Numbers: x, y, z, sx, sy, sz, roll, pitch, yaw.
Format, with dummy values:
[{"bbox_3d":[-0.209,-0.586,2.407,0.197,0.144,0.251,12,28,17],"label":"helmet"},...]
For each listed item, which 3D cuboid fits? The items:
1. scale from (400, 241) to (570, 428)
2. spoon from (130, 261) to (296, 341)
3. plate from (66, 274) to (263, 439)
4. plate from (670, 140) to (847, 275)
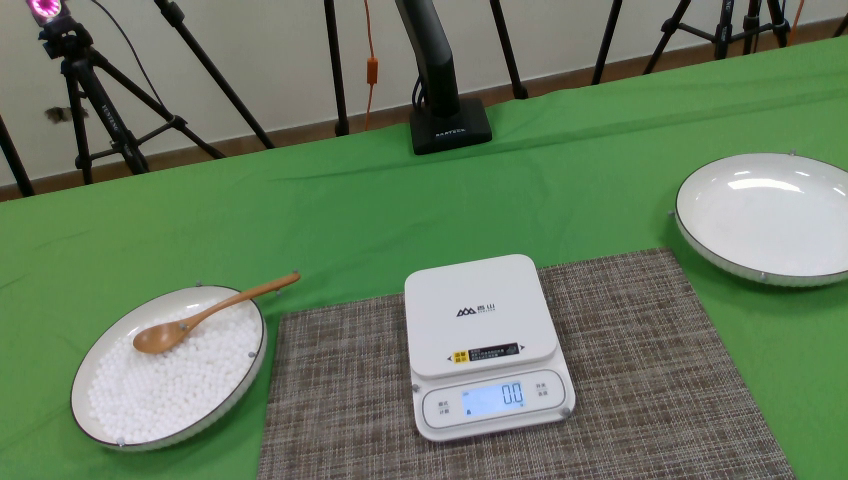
[{"bbox_3d":[0.053,0.086,0.612,0.148,0.032,0.198,-11,43,3],"label":"scale"},{"bbox_3d":[-0.235,0.066,0.682,0.194,0.022,0.041,-26,43,-3],"label":"spoon"},{"bbox_3d":[-0.272,0.123,0.654,0.209,0.038,0.207,-6,43,6],"label":"plate"},{"bbox_3d":[0.379,-0.035,0.662,0.207,0.039,0.205,-7,43,7],"label":"plate"}]
